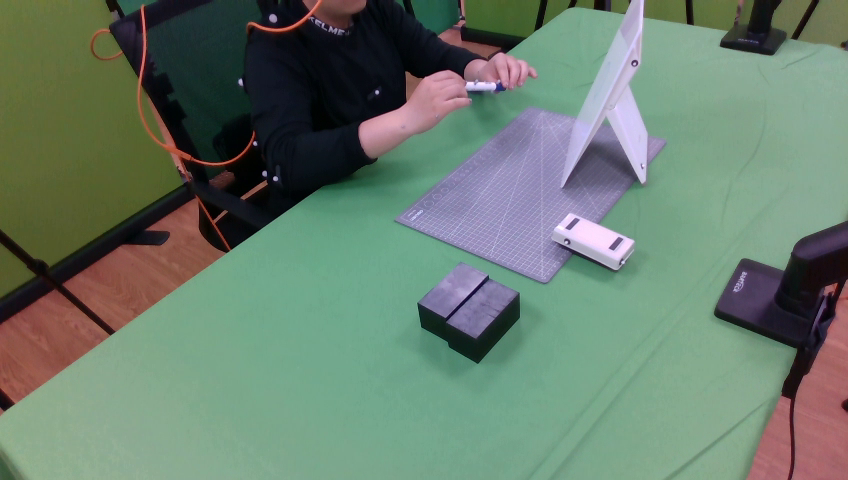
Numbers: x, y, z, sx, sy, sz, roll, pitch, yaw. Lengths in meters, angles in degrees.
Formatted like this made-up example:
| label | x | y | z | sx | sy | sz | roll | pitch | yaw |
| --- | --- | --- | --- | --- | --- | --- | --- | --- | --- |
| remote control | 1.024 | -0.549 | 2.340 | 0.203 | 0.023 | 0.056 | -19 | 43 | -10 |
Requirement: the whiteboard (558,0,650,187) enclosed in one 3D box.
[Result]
| label | x | y | z | sx | sy | sz | roll | pitch | yaw |
| --- | --- | --- | --- | --- | --- | --- | --- | --- | --- |
| whiteboard | 0.362 | -0.238 | 1.026 | 0.144 | 0.306 | 0.217 | 21 | 45 | 4 |

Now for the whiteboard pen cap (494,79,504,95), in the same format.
| label | x | y | z | sx | sy | sz | roll | pitch | yaw |
| --- | --- | --- | --- | --- | --- | --- | --- | --- | --- |
| whiteboard pen cap | 0.145 | -0.293 | 1.163 | 0.018 | 0.033 | 0.018 | -4 | 69 | 12 |

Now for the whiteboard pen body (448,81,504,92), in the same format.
| label | x | y | z | sx | sy | sz | roll | pitch | yaw |
| --- | --- | --- | --- | --- | --- | --- | --- | --- | --- |
| whiteboard pen body | 0.100 | -0.283 | 1.120 | 0.142 | 0.017 | 0.017 | -9 | 34 | -40 |

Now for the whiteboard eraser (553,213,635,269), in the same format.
| label | x | y | z | sx | sy | sz | roll | pitch | yaw |
| --- | --- | --- | --- | --- | --- | --- | --- | --- | --- |
| whiteboard eraser | 0.257 | 0.003 | 0.918 | 0.112 | 0.042 | 0.056 | 27 | 50 | 30 |
